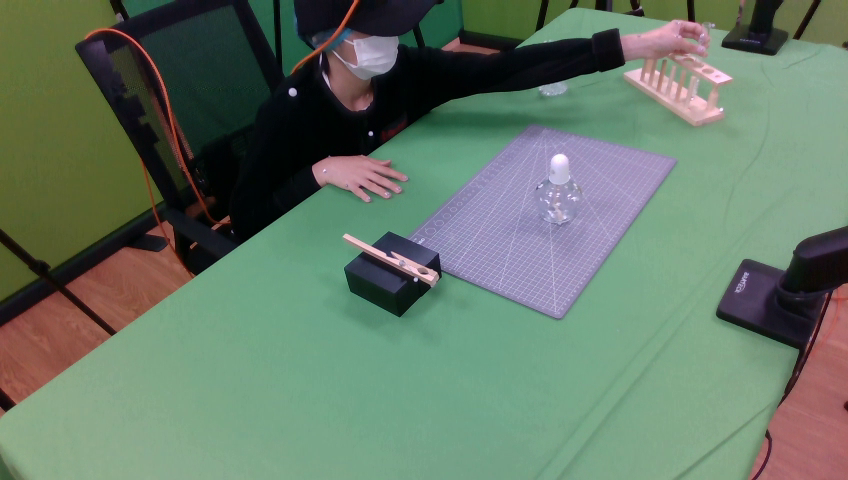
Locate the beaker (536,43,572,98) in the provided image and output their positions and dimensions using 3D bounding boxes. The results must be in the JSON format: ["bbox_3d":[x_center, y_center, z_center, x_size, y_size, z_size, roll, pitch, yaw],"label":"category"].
[{"bbox_3d":[0.281,-0.368,1.311,0.074,0.101,0.084,4,41,14],"label":"beaker"}]

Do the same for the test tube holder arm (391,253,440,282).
[{"bbox_3d":[-0.015,0.039,0.858,0.087,0.015,0.010,22,57,32],"label":"test tube holder arm"}]

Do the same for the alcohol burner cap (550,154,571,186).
[{"bbox_3d":[0.212,-0.112,0.944,0.034,0.048,0.033,-7,44,7],"label":"alcohol burner cap"}]

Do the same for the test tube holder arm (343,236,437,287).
[{"bbox_3d":[-0.053,0.029,0.879,0.177,0.015,0.013,22,56,32],"label":"test tube holder arm"}]

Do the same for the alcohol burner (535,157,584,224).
[{"bbox_3d":[0.217,-0.085,0.967,0.078,0.119,0.077,-3,41,3],"label":"alcohol burner"}]

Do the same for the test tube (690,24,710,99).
[{"bbox_3d":[0.531,-0.343,1.172,0.017,0.151,0.017,-4,41,4],"label":"test tube"}]

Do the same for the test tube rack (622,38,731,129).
[{"bbox_3d":[0.506,-0.325,1.234,0.067,0.085,0.240,-18,41,-11],"label":"test tube rack"}]
